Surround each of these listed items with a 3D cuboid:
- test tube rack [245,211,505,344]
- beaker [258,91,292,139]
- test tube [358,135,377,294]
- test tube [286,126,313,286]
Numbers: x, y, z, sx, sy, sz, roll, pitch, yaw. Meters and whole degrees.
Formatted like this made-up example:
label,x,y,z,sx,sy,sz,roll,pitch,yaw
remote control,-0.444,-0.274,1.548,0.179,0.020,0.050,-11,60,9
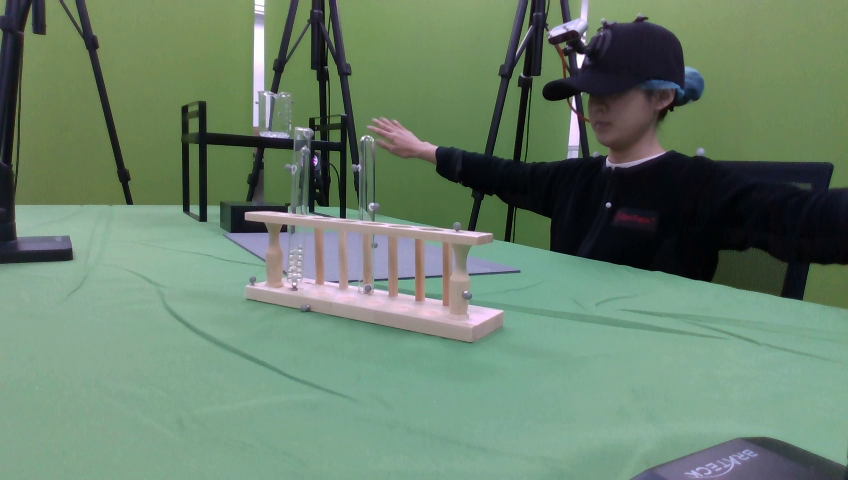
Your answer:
label,x,y,z,sx,sy,sz,roll,pitch,yaw
test tube rack,-0.049,0.025,0.547,0.241,0.085,0.067,7,8,28
beaker,-0.331,-0.276,1.343,0.074,0.100,0.083,0,8,-20
test tube,-0.053,-0.022,0.565,0.017,0.150,0.017,2,6,0
test tube,-0.116,-0.030,0.559,0.017,0.150,0.017,6,11,-1
